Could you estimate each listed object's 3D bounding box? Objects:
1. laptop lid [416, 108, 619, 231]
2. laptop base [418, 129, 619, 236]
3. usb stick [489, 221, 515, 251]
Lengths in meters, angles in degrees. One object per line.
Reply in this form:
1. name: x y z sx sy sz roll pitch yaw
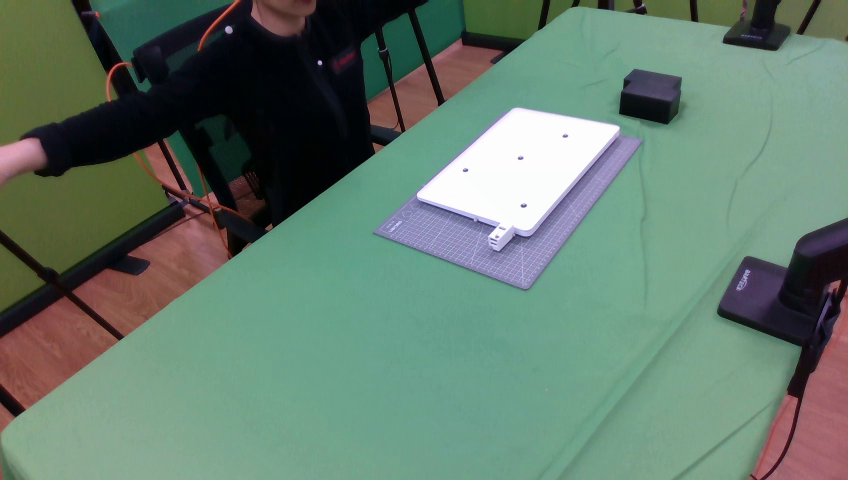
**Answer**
1. laptop lid: 0.176 -0.147 1.106 0.239 0.013 0.357 21 48 34
2. laptop base: 0.180 -0.137 1.112 0.233 0.023 0.355 19 47 33
3. usb stick: 0.127 -0.011 0.954 0.021 0.027 0.059 22 47 34
